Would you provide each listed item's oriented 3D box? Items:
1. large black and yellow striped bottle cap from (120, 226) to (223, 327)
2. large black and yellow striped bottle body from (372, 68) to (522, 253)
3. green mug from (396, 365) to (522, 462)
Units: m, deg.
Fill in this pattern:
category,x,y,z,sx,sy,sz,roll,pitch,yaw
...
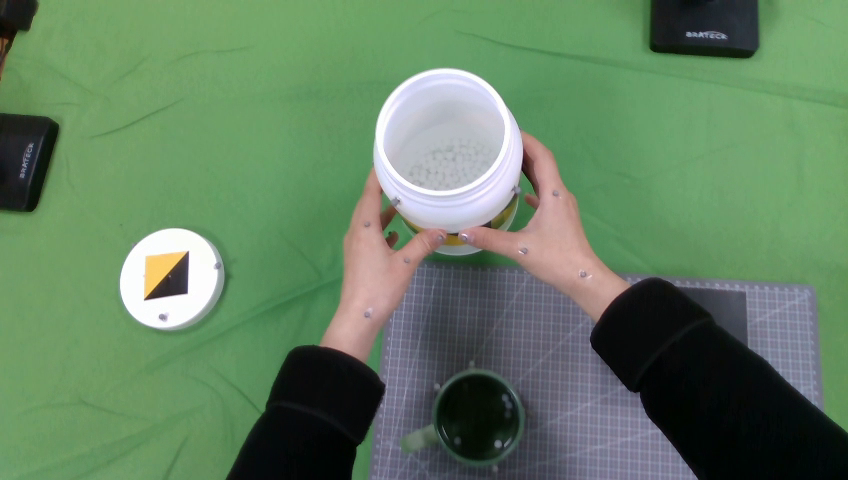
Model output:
category,x,y,z,sx,sy,sz,roll,pitch,yaw
large black and yellow striped bottle cap,-0.286,0.040,0.685,0.115,0.019,0.114,-1,75,5
large black and yellow striped bottle body,0.024,-0.068,0.568,0.130,0.185,0.130,-1,77,6
green mug,0.033,0.171,0.579,0.125,0.105,0.092,-20,76,0
